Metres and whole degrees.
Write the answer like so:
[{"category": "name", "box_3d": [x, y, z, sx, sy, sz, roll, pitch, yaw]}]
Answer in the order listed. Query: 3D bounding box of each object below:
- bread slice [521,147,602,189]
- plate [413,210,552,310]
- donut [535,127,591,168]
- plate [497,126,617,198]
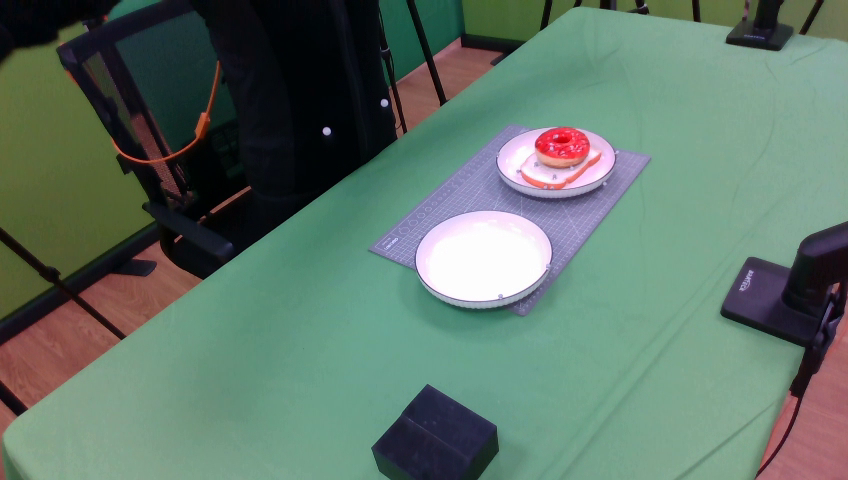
[{"category": "bread slice", "box_3d": [0.242, -0.137, 1.085, 0.106, 0.018, 0.134, 23, 51, 34]}, {"category": "plate", "box_3d": [0.088, 0.033, 0.914, 0.207, 0.039, 0.206, -5, 40, 5]}, {"category": "donut", "box_3d": [0.247, -0.165, 1.073, 0.099, 0.048, 0.098, -5, 39, 5]}, {"category": "plate", "box_3d": [0.236, -0.136, 1.085, 0.209, 0.038, 0.208, -5, 40, 5]}]
